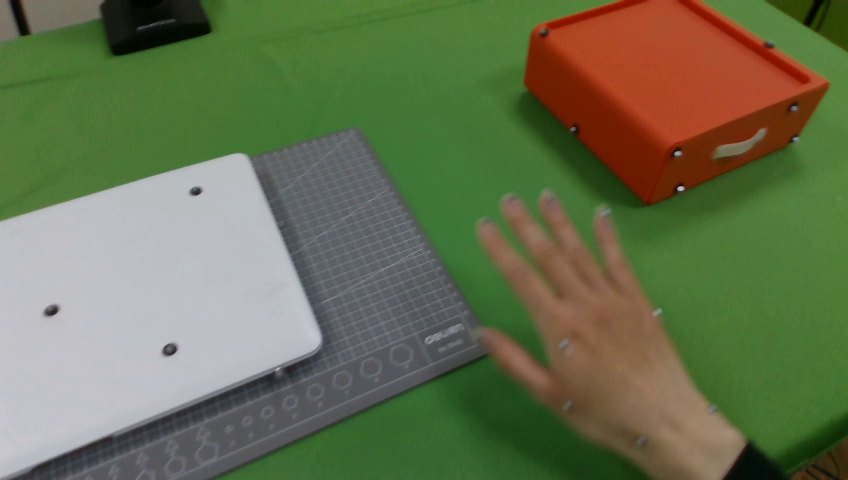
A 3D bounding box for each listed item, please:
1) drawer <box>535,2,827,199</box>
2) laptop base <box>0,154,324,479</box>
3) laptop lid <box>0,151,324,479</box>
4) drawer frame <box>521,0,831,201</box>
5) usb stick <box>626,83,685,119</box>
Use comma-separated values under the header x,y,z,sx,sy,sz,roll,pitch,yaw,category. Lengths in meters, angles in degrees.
x,y,z,sx,sy,sz,roll,pitch,yaw,category
0.243,-0.158,0.613,0.195,0.074,0.209,-23,53,-17,drawer
-0.280,0.060,0.473,0.355,0.023,0.233,-20,56,-16,laptop base
-0.279,0.054,0.463,0.357,0.013,0.239,-19,55,-15,laptop lid
0.240,-0.159,0.614,0.202,0.083,0.211,-23,53,-17,drawer frame
0.242,-0.144,0.626,0.059,0.027,0.021,-8,51,-6,usb stick
